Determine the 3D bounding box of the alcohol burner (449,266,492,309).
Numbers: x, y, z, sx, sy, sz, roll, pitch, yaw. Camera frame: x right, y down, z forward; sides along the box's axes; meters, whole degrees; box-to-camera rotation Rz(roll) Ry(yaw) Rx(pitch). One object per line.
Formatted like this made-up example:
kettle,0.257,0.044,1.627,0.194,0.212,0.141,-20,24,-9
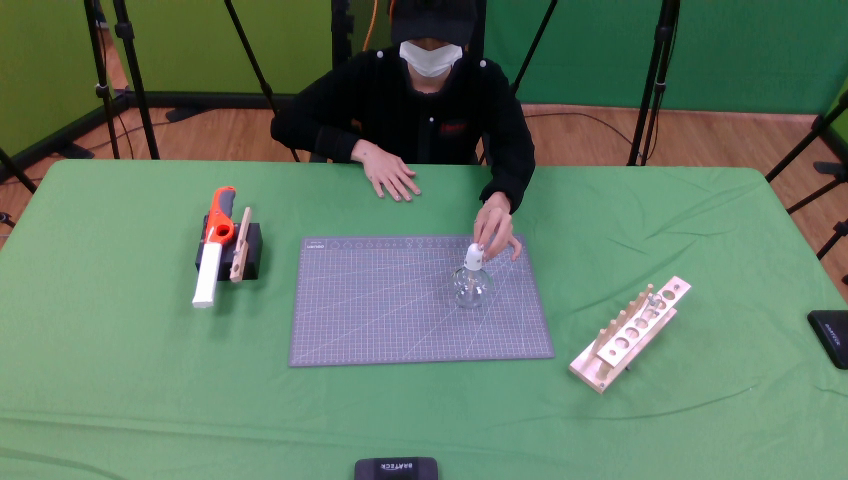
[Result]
alcohol burner,0.084,0.066,1.074,0.078,0.120,0.077,1,44,-1

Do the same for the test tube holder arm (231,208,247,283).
test tube holder arm,-0.335,0.006,1.103,0.013,0.015,0.177,-6,47,-4

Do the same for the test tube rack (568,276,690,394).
test tube rack,0.353,0.149,1.039,0.242,0.085,0.066,-34,56,-31

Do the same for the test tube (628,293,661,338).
test tube,0.355,0.133,0.984,0.017,0.151,0.017,1,52,0

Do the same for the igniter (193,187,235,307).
igniter,-0.378,0.003,1.096,0.057,0.025,0.274,-1,49,-6

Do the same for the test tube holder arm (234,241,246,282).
test tube holder arm,-0.325,0.037,1.072,0.010,0.015,0.087,-5,47,-3

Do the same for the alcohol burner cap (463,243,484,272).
alcohol burner cap,0.085,0.027,1.031,0.034,0.048,0.033,5,43,-4
